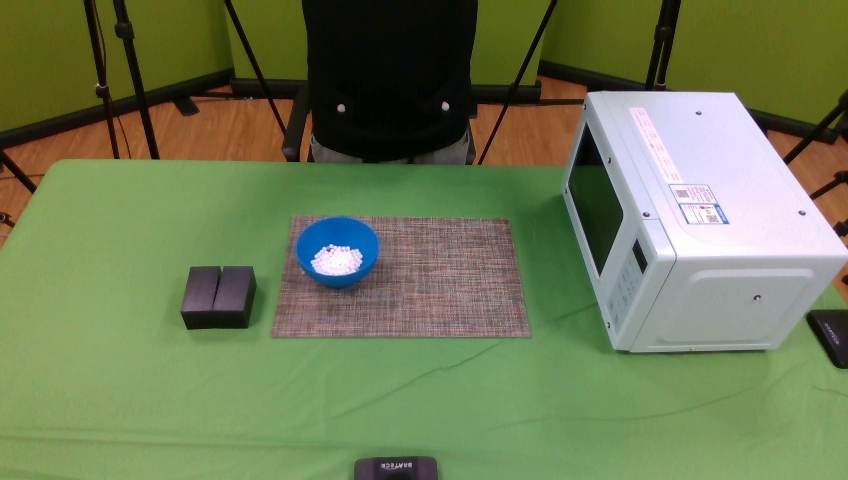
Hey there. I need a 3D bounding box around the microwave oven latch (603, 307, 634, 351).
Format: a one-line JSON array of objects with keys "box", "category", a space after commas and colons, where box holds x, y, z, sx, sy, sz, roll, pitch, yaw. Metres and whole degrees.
[{"box": [0.332, 0.153, 1.043, 0.030, 0.029, 0.078, 0, 45, -3], "category": "microwave oven latch"}]

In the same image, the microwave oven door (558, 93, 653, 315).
[{"box": [0.327, -0.074, 1.123, 0.039, 0.245, 0.353, -1, 46, -5], "category": "microwave oven door"}]

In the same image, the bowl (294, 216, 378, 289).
[{"box": [-0.158, 0.036, 1.110, 0.151, 0.077, 0.150, 3, 45, -2], "category": "bowl"}]

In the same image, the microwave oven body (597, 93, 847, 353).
[{"box": [0.475, -0.041, 1.109, 0.326, 0.261, 0.438, -1, 45, -4], "category": "microwave oven body"}]
